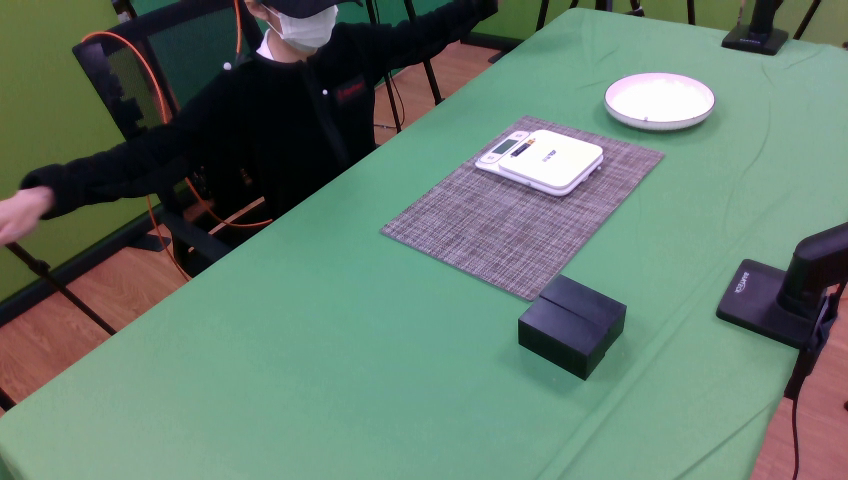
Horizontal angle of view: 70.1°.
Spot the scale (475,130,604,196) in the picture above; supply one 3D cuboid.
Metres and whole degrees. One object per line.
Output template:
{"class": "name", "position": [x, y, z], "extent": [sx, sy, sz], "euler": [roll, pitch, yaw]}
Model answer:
{"class": "scale", "position": [0.209, -0.148, 1.105], "extent": [0.199, 0.032, 0.149], "euler": [26, 50, 34]}

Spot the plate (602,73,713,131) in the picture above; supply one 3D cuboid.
{"class": "plate", "position": [0.463, -0.271, 1.210], "extent": [0.207, 0.039, 0.206], "euler": [-4, 40, 4]}
